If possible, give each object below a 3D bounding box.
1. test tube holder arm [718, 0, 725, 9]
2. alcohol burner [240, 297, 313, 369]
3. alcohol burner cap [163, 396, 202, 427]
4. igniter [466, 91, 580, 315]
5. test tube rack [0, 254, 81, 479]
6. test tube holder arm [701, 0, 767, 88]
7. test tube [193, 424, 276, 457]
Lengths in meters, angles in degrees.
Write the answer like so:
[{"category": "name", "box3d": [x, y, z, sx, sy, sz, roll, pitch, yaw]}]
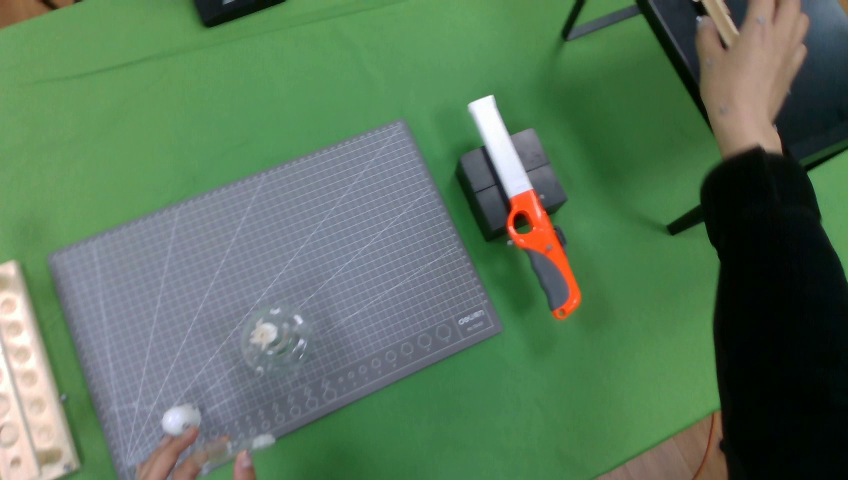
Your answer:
[{"category": "test tube holder arm", "box3d": [0.289, -0.276, 0.635, 0.010, 0.015, 0.087, -13, 75, -38]}, {"category": "alcohol burner", "box3d": [-0.159, 0.097, 0.642, 0.078, 0.119, 0.077, 1, 77, -4]}, {"category": "alcohol burner cap", "box3d": [-0.261, 0.183, 0.649, 0.034, 0.048, 0.033, 1, 75, -4]}, {"category": "igniter", "box3d": [0.113, -0.046, 0.698, 0.057, 0.025, 0.275, -21, 78, -3]}, {"category": "test tube rack", "box3d": [-0.445, 0.128, 0.628, 0.067, 0.085, 0.241, -23, 79, -9]}, {"category": "test tube holder arm", "box3d": [0.301, -0.234, 0.622, 0.013, 0.015, 0.177, -14, 75, -38]}, {"category": "test tube", "box3d": [-0.159, 0.172, 0.526, 0.017, 0.151, 0.017, -1, 76, 6]}]
